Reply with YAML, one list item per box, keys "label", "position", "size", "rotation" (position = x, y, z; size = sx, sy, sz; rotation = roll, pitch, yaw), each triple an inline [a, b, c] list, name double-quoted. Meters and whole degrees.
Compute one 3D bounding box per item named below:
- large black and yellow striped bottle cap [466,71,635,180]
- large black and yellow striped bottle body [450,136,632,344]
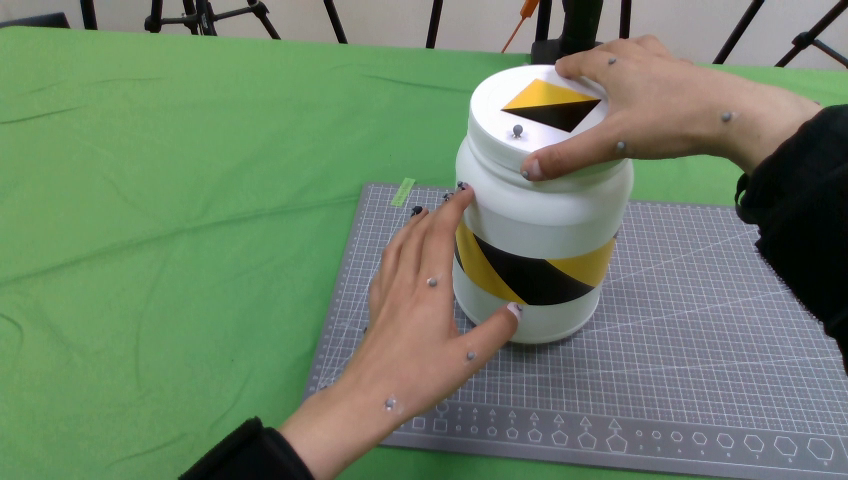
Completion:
- label: "large black and yellow striped bottle cap"
  position: [0.086, -0.083, 0.418]
  size: [0.115, 0.019, 0.114]
  rotation: [1, 43, -1]
- label: "large black and yellow striped bottle body"
  position: [0.088, -0.020, 0.481]
  size: [0.131, 0.185, 0.129]
  rotation: [0, 44, 0]
